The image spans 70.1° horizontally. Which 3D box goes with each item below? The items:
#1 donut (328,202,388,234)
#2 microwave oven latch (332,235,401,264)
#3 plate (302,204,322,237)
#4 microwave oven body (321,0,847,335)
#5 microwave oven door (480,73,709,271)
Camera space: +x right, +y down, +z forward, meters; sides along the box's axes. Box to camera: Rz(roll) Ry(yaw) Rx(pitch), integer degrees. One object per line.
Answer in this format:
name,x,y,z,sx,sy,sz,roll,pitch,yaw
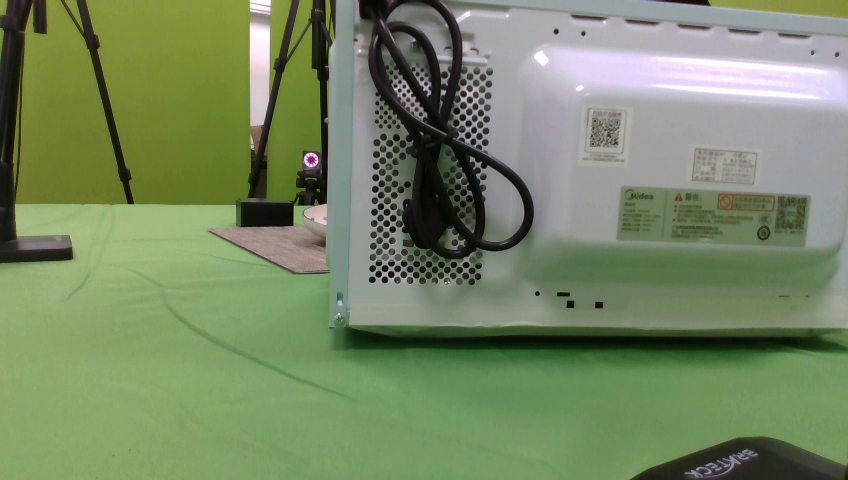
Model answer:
donut,-0.109,-0.036,0.993,0.099,0.048,0.099,4,12,-1
microwave oven latch,-0.066,0.010,0.701,0.079,0.029,0.030,2,6,-8
plate,-0.096,-0.024,0.994,0.209,0.038,0.209,4,14,-1
microwave oven body,0.133,-0.062,0.568,0.443,0.260,0.325,2,6,-8
microwave oven door,0.220,-0.102,0.870,0.039,0.243,0.354,-4,9,-39
